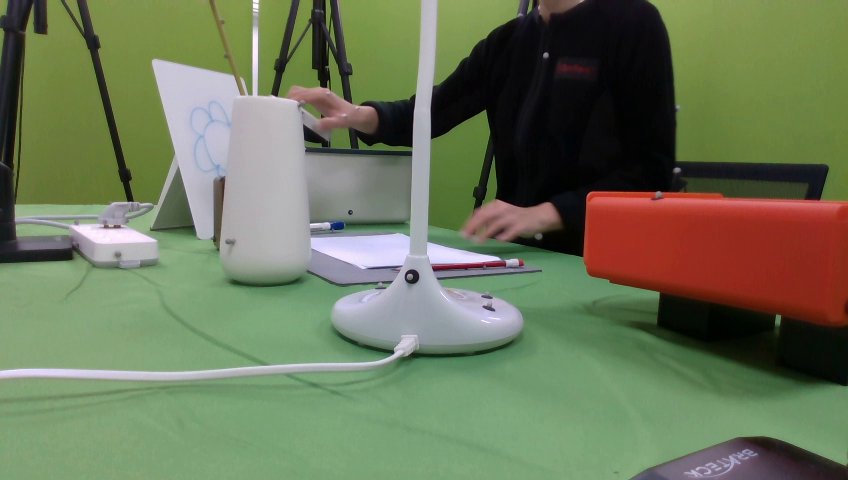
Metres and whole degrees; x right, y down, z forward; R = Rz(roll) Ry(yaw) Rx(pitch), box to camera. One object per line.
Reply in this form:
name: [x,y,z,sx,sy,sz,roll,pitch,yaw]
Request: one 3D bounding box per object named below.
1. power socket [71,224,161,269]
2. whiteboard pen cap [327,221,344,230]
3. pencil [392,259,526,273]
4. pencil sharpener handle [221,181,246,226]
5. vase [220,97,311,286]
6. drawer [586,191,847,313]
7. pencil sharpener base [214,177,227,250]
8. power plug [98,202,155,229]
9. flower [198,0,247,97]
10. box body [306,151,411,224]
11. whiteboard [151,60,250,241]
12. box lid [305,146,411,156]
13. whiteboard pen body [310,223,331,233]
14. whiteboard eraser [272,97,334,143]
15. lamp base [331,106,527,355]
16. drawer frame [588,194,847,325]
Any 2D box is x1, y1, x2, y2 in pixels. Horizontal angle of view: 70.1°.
power socket: [-0.408,0.004,0.793,0.072,0.032,0.225,-2,8,-38]
whiteboard pen cap: [-0.166,-0.027,1.124,0.018,0.018,0.033,9,10,41]
pencil: [0.049,0.035,0.782,0.195,0.012,0.012,-2,9,-25]
pencil sharpener handle: [-0.289,-0.055,0.912,0.036,0.067,0.030,-4,9,-29]
vase: [-0.172,-0.052,0.662,0.098,0.200,0.098,3,9,0]
drawer: [0.281,0.001,0.513,0.195,0.073,0.210,-1,8,-29]
pencil sharpener base: [-0.265,-0.037,0.870,0.061,0.107,0.076,-2,8,-29]
power plug: [-0.416,-0.027,0.848,0.073,0.052,0.035,0,8,-28]
flower: [-0.187,-0.133,0.648,0.038,0.362,0.044,-1,22,43]
box body: [-0.230,-0.126,1.371,0.366,0.160,0.253,-2,8,-33]
whiteboard: [-0.408,-0.139,1.094,0.143,0.305,0.218,-15,-1,26]
box lid: [-0.229,-0.200,1.361,0.373,0.015,0.262,-3,9,-32]
whiteboard pen body: [-0.207,-0.021,1.081,0.017,0.017,0.141,9,10,41]
whiteboard eraser: [-0.199,-0.189,0.973,0.055,0.042,0.113,16,-4,30]
lamp base: [0.006,-0.012,0.478,0.161,0.180,0.179,2,10,2]
drawer frame: [0.286,0.004,0.508,0.203,0.082,0.212,-1,6,-29]
